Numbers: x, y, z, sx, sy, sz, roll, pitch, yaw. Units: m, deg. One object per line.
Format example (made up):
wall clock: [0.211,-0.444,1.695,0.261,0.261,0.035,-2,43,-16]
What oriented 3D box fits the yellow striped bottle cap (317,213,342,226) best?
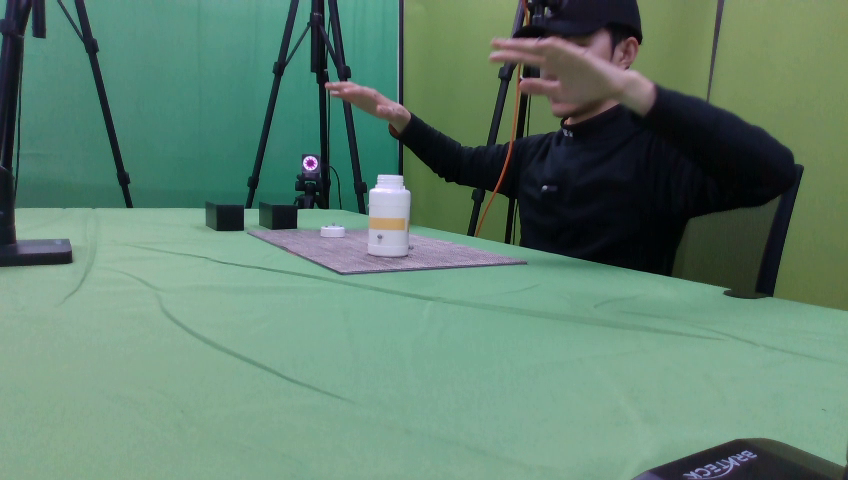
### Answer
yellow striped bottle cap: [-0.171,-0.038,1.102,0.044,0.018,0.044,-4,14,1]

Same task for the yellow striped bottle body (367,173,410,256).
yellow striped bottle body: [-0.052,-0.040,0.902,0.063,0.120,0.063,2,7,0]
